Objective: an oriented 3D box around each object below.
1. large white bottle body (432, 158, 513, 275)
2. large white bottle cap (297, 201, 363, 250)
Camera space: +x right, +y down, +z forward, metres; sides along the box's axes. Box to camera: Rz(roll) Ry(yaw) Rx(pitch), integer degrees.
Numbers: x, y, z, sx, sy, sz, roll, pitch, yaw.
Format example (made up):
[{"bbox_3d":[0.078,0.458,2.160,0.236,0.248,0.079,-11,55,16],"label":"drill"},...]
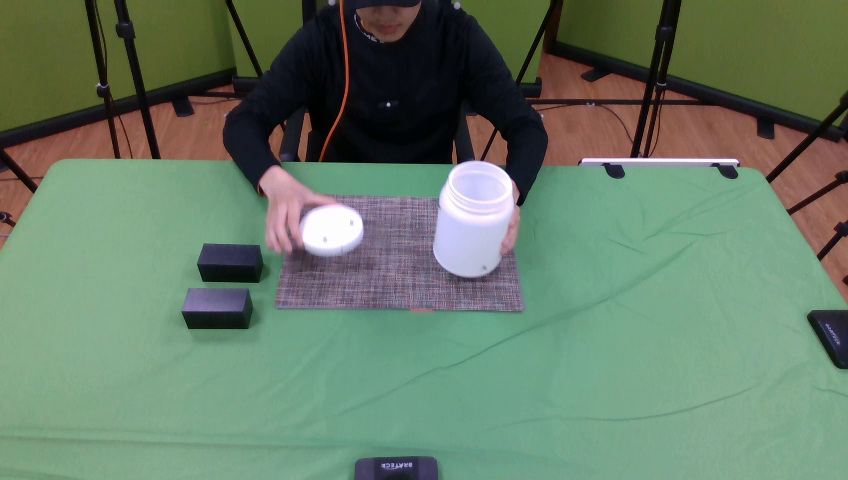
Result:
[{"bbox_3d":[0.086,-0.042,1.079,0.131,0.185,0.130,3,47,-3],"label":"large white bottle body"},{"bbox_3d":[-0.167,-0.027,1.077,0.115,0.018,0.114,-1,44,1],"label":"large white bottle cap"}]
